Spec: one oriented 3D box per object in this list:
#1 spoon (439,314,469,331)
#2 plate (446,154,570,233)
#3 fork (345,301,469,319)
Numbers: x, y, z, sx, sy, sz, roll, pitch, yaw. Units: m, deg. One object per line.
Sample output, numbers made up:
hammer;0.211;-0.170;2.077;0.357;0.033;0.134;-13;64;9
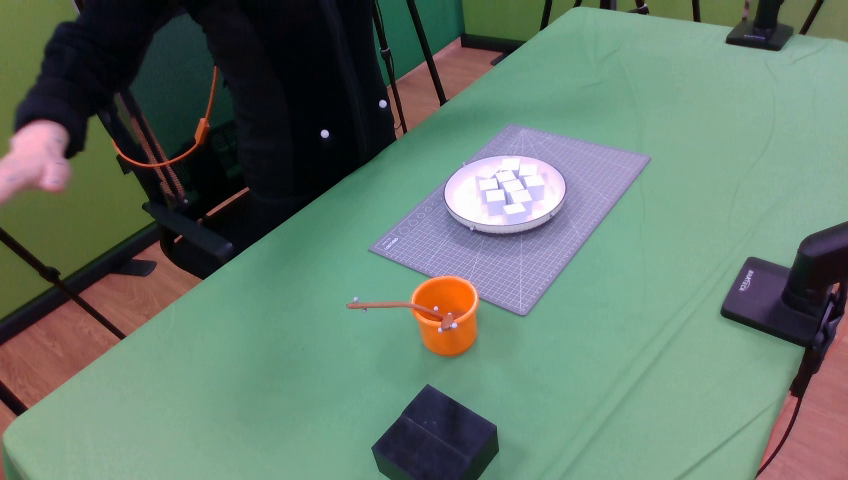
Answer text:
spoon;0.033;0.101;0.760;0.041;0.194;0.021;0;83;7
plate;0.142;-0.076;1.033;0.207;0.039;0.206;-5;40;5
fork;-0.017;0.090;0.776;0.209;0.018;0.028;14;-1;-44
